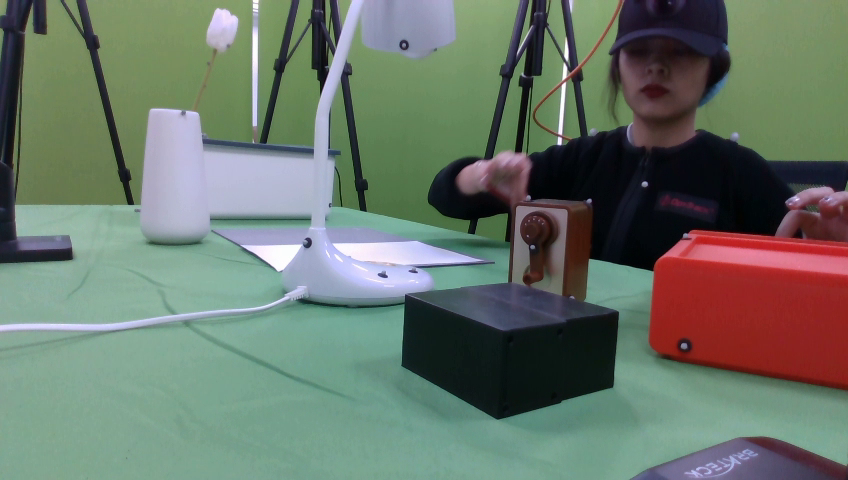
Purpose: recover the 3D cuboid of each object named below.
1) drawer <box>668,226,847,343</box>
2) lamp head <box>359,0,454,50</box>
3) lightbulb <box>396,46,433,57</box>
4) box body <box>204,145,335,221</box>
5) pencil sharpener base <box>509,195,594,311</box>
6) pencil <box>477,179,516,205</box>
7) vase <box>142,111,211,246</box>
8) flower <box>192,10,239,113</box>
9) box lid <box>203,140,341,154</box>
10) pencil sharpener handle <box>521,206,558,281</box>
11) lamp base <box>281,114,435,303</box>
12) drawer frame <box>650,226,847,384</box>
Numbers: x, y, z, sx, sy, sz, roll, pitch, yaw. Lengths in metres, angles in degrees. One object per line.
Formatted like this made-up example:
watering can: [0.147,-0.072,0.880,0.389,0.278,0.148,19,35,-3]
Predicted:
drawer: [0.345,0.036,0.573,0.194,0.073,0.212,7,9,27]
lamp head: [-0.024,-0.283,0.674,0.112,0.123,0.112,-3,38,3]
lightbulb: [-0.018,-0.265,0.692,0.059,0.108,0.059,-10,27,6]
box body: [-0.411,-0.135,1.386,0.366,0.160,0.253,-2,9,-29]
pencil sharpener base: [0.126,0.010,0.602,0.061,0.107,0.077,7,9,31]
pencil: [0.137,-0.039,0.798,0.012,0.012,0.193,-6,34,-47]
vase: [-0.378,-0.093,0.920,0.098,0.200,0.098,2,9,0]
flower: [-0.354,-0.174,0.915,0.038,0.361,0.044,18,-3,12]
box lid: [-0.396,-0.212,1.373,0.373,0.015,0.262,-1,9,-29]
pencil sharpener handle: [0.101,0.003,0.556,0.036,0.067,0.031,0,5,31]
lamp base: [-0.071,-0.035,0.614,0.160,0.180,0.180,6,10,27]
drawer frame: [0.307,0.042,0.496,0.201,0.082,0.214,6,9,27]
